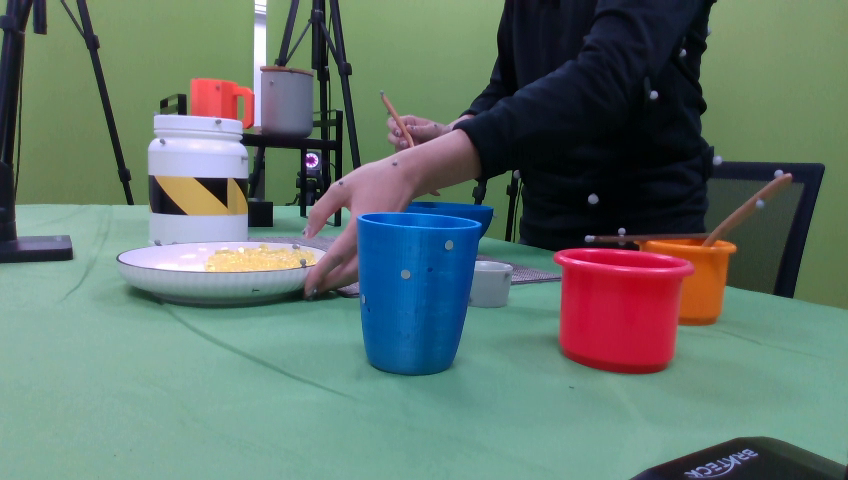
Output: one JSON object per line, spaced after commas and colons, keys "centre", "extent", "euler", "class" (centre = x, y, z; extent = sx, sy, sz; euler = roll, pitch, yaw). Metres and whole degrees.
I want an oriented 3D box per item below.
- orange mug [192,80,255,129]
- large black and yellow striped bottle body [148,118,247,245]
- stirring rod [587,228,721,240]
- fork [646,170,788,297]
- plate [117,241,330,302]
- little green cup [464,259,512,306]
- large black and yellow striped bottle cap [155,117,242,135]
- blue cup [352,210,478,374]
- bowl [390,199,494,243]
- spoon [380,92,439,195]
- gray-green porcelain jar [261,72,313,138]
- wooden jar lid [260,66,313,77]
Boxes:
{"centre": [-0.389, -0.257, 1.172], "extent": [0.126, 0.100, 0.083], "euler": [-1, 6, 9], "class": "orange mug"}
{"centre": [-0.318, -0.076, 0.855], "extent": [0.131, 0.184, 0.130], "euler": [2, 7, 0], "class": "large black and yellow striped bottle body"}
{"centre": [0.227, -0.007, 0.586], "extent": [0.177, 0.006, 0.014], "euler": [-2, 11, -29], "class": "stirring rod"}
{"centre": [0.256, 0.004, 0.543], "extent": [0.028, 0.018, 0.207], "euler": [2, -36, -10], "class": "fork"}
{"centre": [-0.203, 0.031, 0.630], "extent": [0.209, 0.038, 0.209], "euler": [3, 7, 0], "class": "plate"}
{"centre": [0.057, 0.043, 0.612], "extent": [0.061, 0.038, 0.061], "euler": [3, 7, 0], "class": "little green cup"}
{"centre": [-0.313, -0.159, 0.845], "extent": [0.115, 0.019, 0.115], "euler": [3, 9, 0], "class": "large black and yellow striped bottle cap"}
{"centre": [-0.009, 0.034, 0.414], "extent": [0.093, 0.100, 0.092], "euler": [4, 8, 0], "class": "blue cup"}
{"centre": [0.024, -0.016, 0.874], "extent": [0.151, 0.077, 0.151], "euler": [2, 7, 0], "class": "bowl"}
{"centre": [-0.024, -0.149, 0.923], "extent": [0.021, 0.193, 0.042], "euler": [-27, -16, 11], "class": "spoon"}
{"centre": [-0.284, -0.277, 1.253], "extent": [0.106, 0.126, 0.106], "euler": [2, 8, 0], "class": "gray-green porcelain jar"}
{"centre": [-0.283, -0.339, 1.244], "extent": [0.108, 0.020, 0.108], "euler": [6, 9, -1], "class": "wooden jar lid"}
